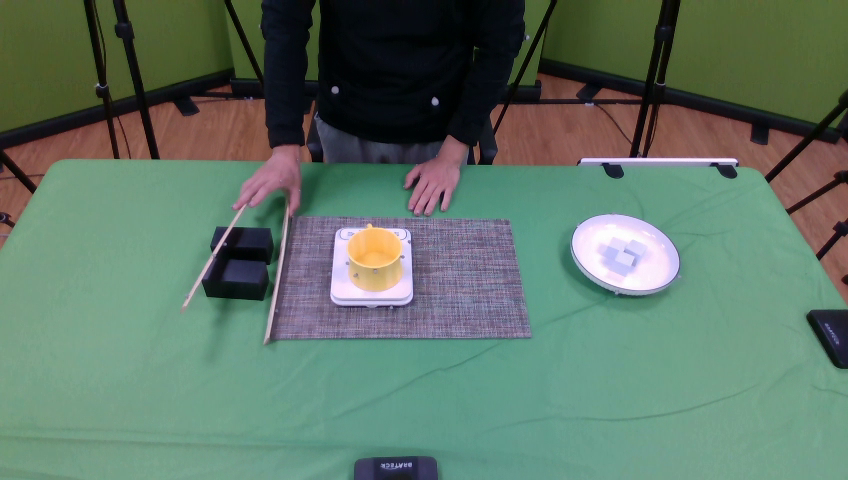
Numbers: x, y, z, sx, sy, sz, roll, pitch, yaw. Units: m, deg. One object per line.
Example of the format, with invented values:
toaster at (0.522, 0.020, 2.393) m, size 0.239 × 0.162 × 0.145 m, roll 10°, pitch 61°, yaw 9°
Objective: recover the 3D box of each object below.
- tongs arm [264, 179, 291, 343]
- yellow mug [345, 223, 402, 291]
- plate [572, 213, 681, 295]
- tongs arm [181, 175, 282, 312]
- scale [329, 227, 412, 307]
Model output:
tongs arm at (-0.277, 0.025, 1.139) m, size 0.028 × 0.028 × 0.385 m, roll 15°, pitch 44°, yaw -21°
yellow mug at (-0.092, 0.022, 1.093) m, size 0.100 × 0.064 × 0.130 m, roll -7°, pitch 46°, yaw -10°
plate at (0.392, 0.030, 1.189) m, size 0.208 × 0.039 × 0.206 m, roll 2°, pitch 46°, yaw -2°
tongs arm at (-0.343, -0.006, 1.115) m, size 0.051 × 0.026 × 0.382 m, roll 26°, pitch 40°, yaw -14°
scale at (-0.099, 0.042, 1.139) m, size 0.149 × 0.032 × 0.199 m, roll 1°, pitch 46°, yaw -4°
